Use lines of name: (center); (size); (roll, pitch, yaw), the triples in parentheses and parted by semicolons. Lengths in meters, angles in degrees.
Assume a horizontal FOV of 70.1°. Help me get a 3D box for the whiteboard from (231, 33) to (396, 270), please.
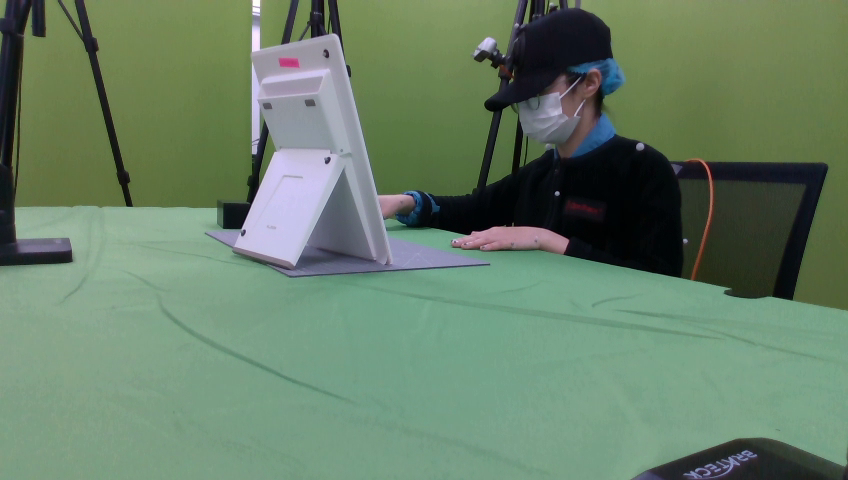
whiteboard: (-0.193, -0.094, 0.805); (0.144, 0.305, 0.216); (-29, 25, -35)

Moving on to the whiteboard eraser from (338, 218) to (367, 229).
whiteboard eraser: (-0.147, -0.036, 1.246); (0.041, 0.019, 0.101); (2, 5, 10)
